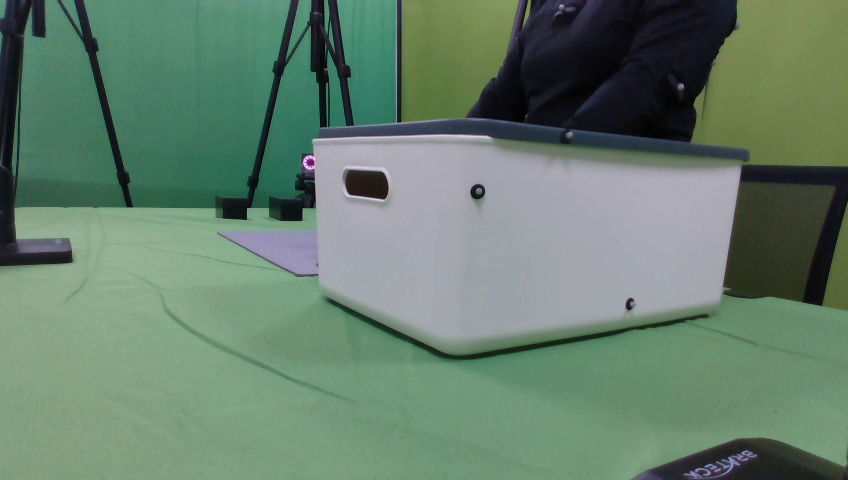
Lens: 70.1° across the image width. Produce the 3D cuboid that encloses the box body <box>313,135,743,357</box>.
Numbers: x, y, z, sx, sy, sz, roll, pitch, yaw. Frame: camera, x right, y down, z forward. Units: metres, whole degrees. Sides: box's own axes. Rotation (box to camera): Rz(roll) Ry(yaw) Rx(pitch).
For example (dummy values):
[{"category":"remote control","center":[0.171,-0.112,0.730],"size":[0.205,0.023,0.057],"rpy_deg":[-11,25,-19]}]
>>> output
[{"category":"box body","center":[0.099,-0.011,0.596],"size":[0.366,0.160,0.253],"rpy_deg":[-2,8,-34]}]

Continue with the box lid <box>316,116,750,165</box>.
[{"category":"box lid","center":[0.106,-0.089,0.593],"size":[0.374,0.015,0.262],"rpy_deg":[-1,6,-35]}]

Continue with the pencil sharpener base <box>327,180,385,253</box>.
[{"category":"pencil sharpener base","center":[-0.103,-0.037,0.932],"size":[0.077,0.107,0.061],"rpy_deg":[-1,7,-30]}]

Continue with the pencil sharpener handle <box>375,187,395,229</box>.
[{"category":"pencil sharpener handle","center":[-0.059,-0.050,0.958],"size":[0.031,0.067,0.036],"rpy_deg":[-1,14,-30]}]
